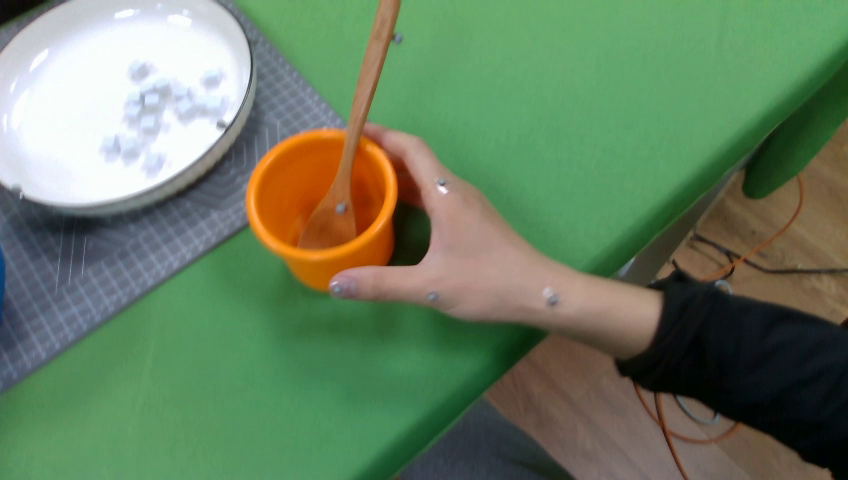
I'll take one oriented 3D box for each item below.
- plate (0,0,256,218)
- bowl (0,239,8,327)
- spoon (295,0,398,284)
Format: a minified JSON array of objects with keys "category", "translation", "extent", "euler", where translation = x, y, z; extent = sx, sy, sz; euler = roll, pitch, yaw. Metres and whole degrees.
[{"category":"plate","translation":[-0.231,-0.105,0.466],"extent":[0.209,0.038,0.207],"euler":[-1,65,1]},{"category":"bowl","translation":[-0.325,0.039,0.378],"extent":[0.151,0.077,0.150],"euler":[-1,65,2]},{"category":"spoon","translation":[-0.046,-0.060,0.381],"extent":[0.041,0.194,0.021],"euler":[22,23,9]}]
